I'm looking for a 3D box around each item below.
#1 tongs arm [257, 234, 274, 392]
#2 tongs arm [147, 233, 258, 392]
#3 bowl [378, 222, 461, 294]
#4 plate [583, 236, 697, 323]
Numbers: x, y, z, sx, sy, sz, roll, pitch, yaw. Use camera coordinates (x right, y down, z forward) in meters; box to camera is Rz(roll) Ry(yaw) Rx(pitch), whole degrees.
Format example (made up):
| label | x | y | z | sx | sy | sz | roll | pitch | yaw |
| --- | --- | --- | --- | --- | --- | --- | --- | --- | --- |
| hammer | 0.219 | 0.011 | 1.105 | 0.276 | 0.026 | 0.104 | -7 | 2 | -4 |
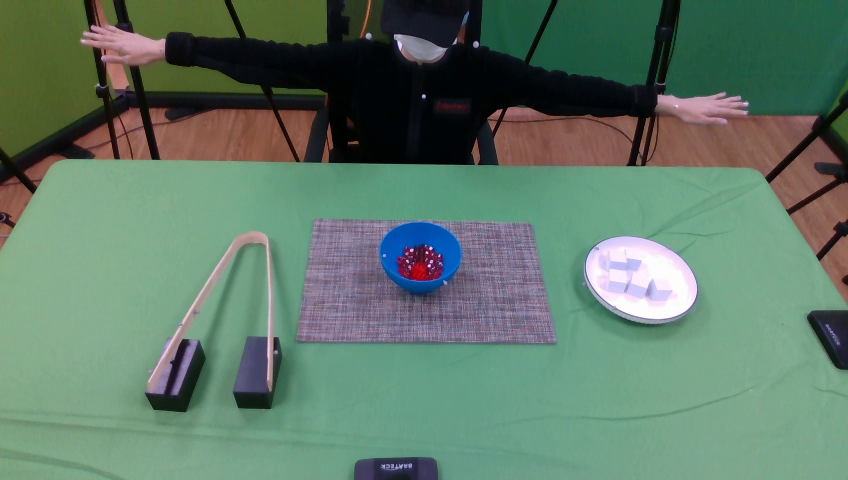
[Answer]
| label | x | y | z | sx | sy | sz | roll | pitch | yaw |
| --- | --- | --- | --- | --- | --- | --- | --- | --- | --- |
| tongs arm | -0.269 | 0.104 | 1.025 | 0.028 | 0.028 | 0.385 | -9 | 36 | -9 |
| tongs arm | -0.358 | 0.103 | 1.018 | 0.051 | 0.026 | 0.382 | 3 | 34 | 2 |
| bowl | -0.010 | 0.046 | 1.109 | 0.151 | 0.077 | 0.150 | 2 | 46 | -2 |
| plate | 0.403 | 0.077 | 1.144 | 0.209 | 0.038 | 0.208 | 2 | 45 | -2 |
